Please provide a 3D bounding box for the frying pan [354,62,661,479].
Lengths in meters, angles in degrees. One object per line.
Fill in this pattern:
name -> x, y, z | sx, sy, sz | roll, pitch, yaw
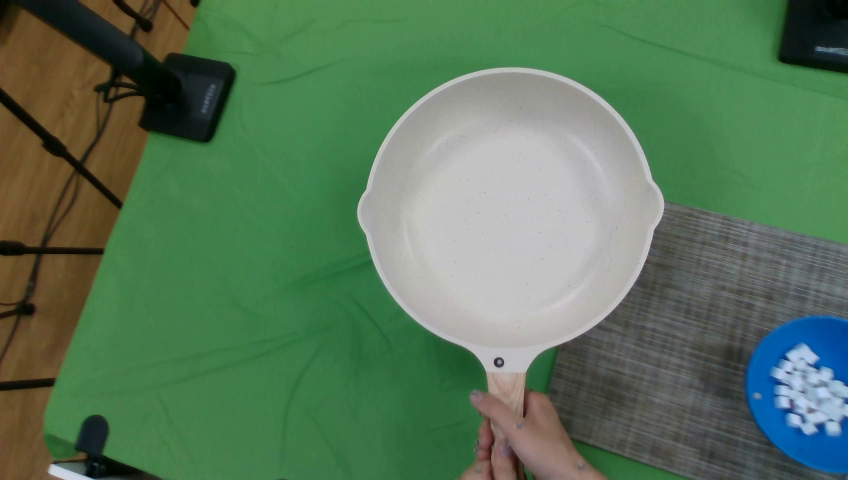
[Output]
frying pan -> 0.080, 0.066, 0.618 | 0.306, 0.103, 0.485 | 0, 78, 10

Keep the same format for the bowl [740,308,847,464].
bowl -> 0.398, 0.149, 0.627 | 0.151, 0.077, 0.150 | -2, 76, 10
